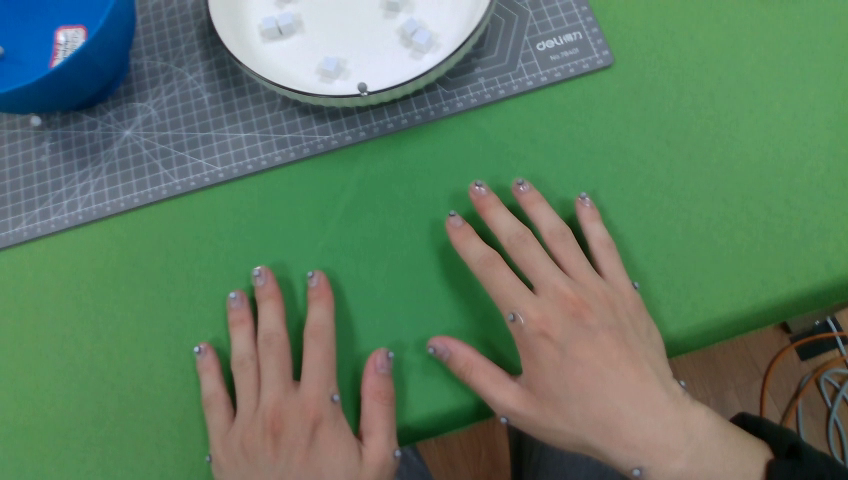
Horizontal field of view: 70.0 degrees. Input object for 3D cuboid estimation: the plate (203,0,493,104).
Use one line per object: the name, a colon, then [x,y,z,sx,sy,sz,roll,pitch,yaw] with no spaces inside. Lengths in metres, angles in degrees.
plate: [-0.051,-0.184,0.432,0.209,0.038,0.207,-1,71,4]

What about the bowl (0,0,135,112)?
bowl: [-0.262,-0.144,0.418,0.151,0.077,0.150,-2,71,6]
